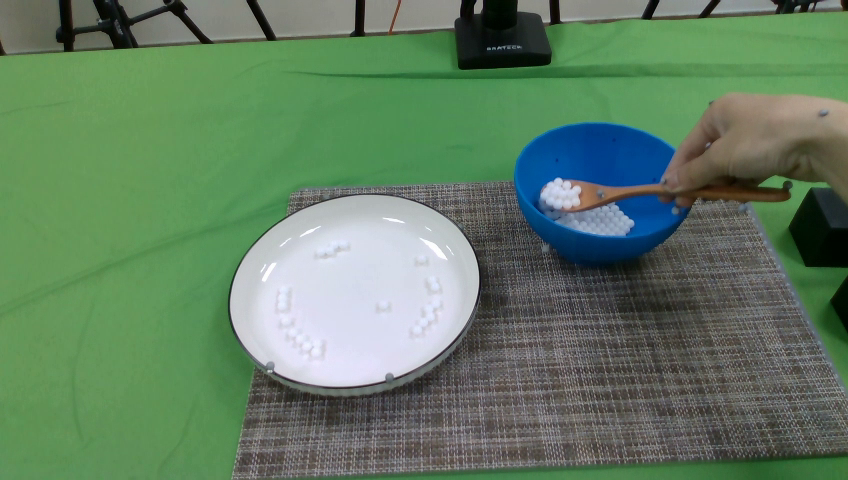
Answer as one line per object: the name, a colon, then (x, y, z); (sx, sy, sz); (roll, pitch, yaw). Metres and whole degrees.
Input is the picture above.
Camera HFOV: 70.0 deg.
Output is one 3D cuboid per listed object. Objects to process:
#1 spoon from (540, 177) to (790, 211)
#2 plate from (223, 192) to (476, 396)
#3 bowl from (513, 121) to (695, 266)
spoon: (0.178, -0.037, 0.478); (0.192, 0.022, 0.041); (3, 43, 45)
plate: (-0.060, 0.043, 0.513); (0.207, 0.039, 0.205); (-1, 47, 2)
bowl: (0.152, -0.030, 0.539); (0.151, 0.077, 0.150); (-1, 47, 2)
